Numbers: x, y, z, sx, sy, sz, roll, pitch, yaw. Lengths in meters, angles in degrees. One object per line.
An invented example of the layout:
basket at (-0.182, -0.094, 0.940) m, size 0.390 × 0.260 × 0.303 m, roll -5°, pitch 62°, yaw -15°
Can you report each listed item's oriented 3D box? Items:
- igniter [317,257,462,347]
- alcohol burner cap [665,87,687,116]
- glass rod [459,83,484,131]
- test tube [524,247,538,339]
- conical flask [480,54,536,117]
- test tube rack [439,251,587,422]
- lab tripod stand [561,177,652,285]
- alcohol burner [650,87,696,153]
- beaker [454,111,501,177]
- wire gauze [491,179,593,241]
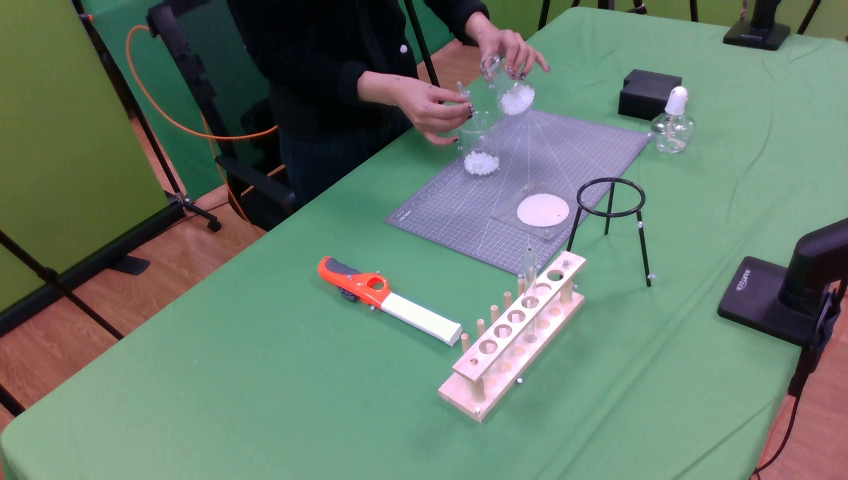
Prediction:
igniter at (-0.061, 0.086, 0.891) m, size 0.274 × 0.025 × 0.057 m, roll 23°, pitch 59°, yaw 33°
alcohol burner cap at (0.445, -0.244, 1.060) m, size 0.034 × 0.048 × 0.033 m, roll -2°, pitch 45°, yaw 3°
glass rod at (0.083, -0.223, 1.028) m, size 0.008 × 0.201 × 0.008 m, roll -3°, pitch 79°, yaw 15°
test tube at (0.133, 0.070, 0.749) m, size 0.017 × 0.151 × 0.017 m, roll -5°, pitch 38°, yaw 4°
conical flask at (0.144, -0.281, 1.079) m, size 0.075 × 0.123 × 0.075 m, roll -17°, pitch 58°, yaw 30°
test tube rack at (0.118, 0.111, 0.780) m, size 0.066 × 0.085 × 0.243 m, roll 26°, pitch 51°, yaw 34°
lab tripod stand at (0.263, -0.014, 0.864) m, size 0.148 × 0.132 × 0.147 m, roll -7°, pitch 38°, yaw 6°
alcohol burner at (0.448, -0.217, 1.084) m, size 0.078 × 0.119 × 0.077 m, roll -6°, pitch 38°, yaw 5°
beaker at (0.101, -0.173, 1.106) m, size 0.084 × 0.101 × 0.073 m, roll -5°, pitch 39°, yaw 6°
wire gauze at (0.198, -0.051, 1.014) m, size 0.125 × 0.011 × 0.120 m, roll -38°, pitch 48°, yaw -27°
